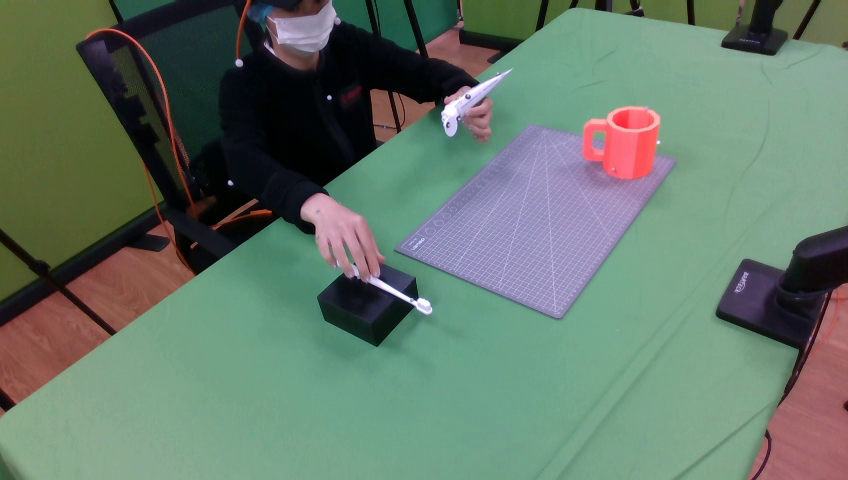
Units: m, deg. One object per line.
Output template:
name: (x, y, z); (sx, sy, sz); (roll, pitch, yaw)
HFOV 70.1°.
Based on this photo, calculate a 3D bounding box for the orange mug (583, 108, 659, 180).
orange mug: (0.343, -0.171, 1.061); (0.126, 0.101, 0.083); (10, 43, 15)

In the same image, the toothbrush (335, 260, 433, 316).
toothbrush: (-0.059, 0.062, 0.839); (0.180, 0.017, 0.014); (24, 52, 32)

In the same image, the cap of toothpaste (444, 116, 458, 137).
cap of toothpaste: (0.044, -0.193, 1.024); (0.011, 0.037, 0.037); (13, 44, 32)

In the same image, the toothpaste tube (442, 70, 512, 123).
toothpaste tube: (0.090, -0.255, 1.072); (0.165, 0.035, 0.054); (-43, 24, -24)
